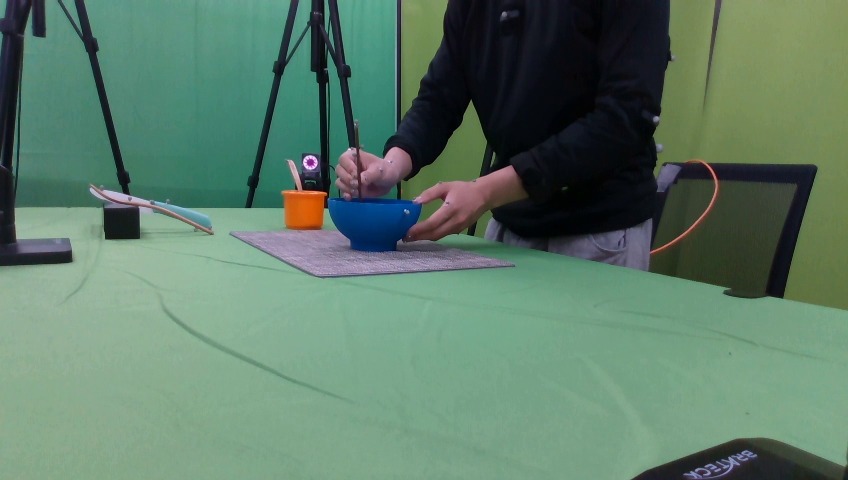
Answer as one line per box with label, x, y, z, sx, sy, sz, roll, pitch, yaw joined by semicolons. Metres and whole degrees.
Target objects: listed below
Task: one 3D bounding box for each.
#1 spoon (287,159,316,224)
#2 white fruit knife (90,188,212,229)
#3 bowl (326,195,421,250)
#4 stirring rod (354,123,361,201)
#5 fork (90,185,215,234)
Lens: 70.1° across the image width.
spoon;-0.261;-0.104;1.263;0.042;0.193;0.021;0;-37;-29
white fruit knife;-0.478;-0.058;1.073;0.208;0.027;0.016;17;-4;-30
bowl;-0.081;-0.027;0.958;0.151;0.077;0.151;3;7;0
stirring rod;-0.099;-0.090;0.918;0.006;0.176;0.014;-6;22;-12
fork;-0.452;-0.049;1.018;0.208;0.018;0.028;21;-7;-33
